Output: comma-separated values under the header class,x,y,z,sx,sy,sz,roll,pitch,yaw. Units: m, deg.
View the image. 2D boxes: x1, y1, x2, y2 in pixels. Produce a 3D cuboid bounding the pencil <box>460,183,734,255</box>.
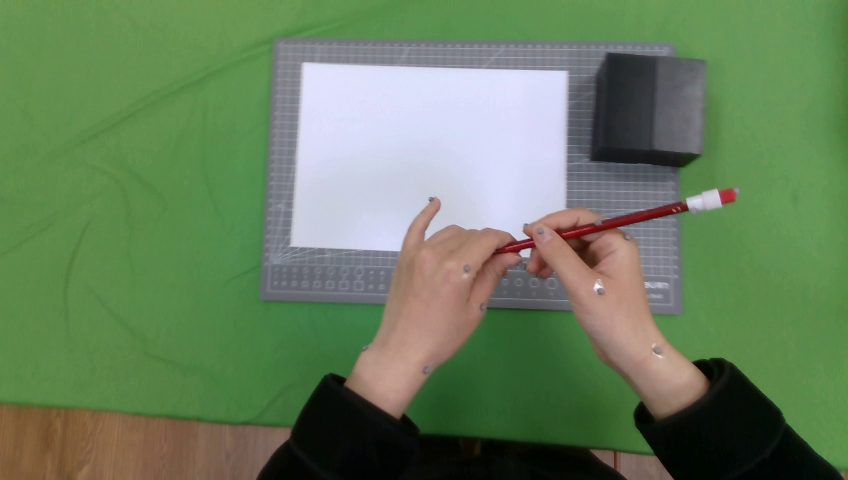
class,x,y,z,sx,sy,sz,roll,pitch,yaw
pencil,0.113,-0.011,0.426,0.193,0.012,0.012,-14,81,25
